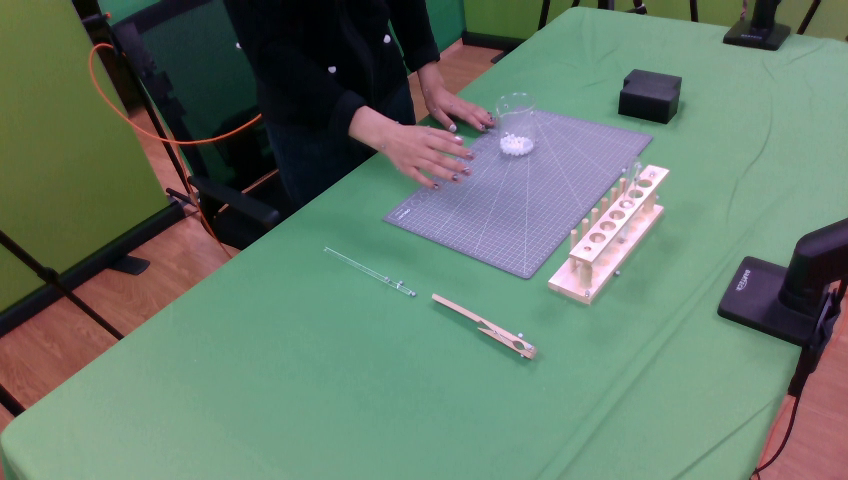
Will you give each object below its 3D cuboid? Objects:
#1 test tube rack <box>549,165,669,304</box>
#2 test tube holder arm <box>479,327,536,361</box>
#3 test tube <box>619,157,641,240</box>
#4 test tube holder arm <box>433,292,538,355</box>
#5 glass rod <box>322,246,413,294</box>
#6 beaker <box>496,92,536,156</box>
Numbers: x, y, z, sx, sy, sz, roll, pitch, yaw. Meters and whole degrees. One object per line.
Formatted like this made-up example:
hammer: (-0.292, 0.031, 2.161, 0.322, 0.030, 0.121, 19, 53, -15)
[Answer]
test tube rack: (0.279, -0.018, 0.902, 0.066, 0.085, 0.243, 24, 50, 33)
test tube holder arm: (0.110, 0.134, 0.805, 0.087, 0.015, 0.010, 29, 83, 36)
test tube: (0.294, -0.056, 0.866, 0.017, 0.151, 0.017, -5, 44, 5)
test tube holder arm: (0.081, 0.112, 0.832, 0.177, 0.015, 0.013, 28, 82, 36)
glass rod: (-0.093, 0.045, 0.956, 0.198, 0.008, 0.008, 24, 51, 33)
beaker: (0.172, -0.214, 1.137, 0.084, 0.101, 0.073, -36, 46, -27)
